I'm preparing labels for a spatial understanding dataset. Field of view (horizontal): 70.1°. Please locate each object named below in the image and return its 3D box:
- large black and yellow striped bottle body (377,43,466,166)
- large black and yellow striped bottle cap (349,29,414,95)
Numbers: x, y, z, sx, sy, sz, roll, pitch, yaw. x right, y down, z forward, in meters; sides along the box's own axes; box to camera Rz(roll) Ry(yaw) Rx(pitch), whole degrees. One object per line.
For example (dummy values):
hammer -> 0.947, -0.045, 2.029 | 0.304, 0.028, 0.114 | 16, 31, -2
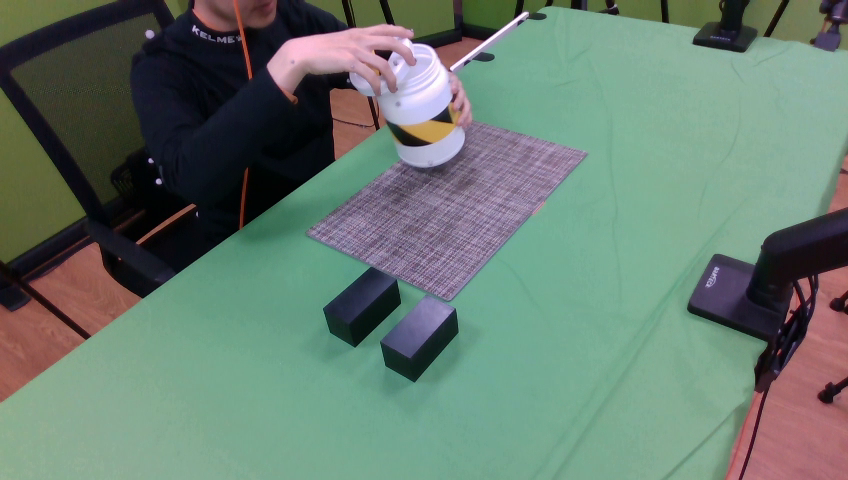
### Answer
large black and yellow striped bottle body -> -0.007, -0.237, 1.064 | 0.130, 0.185, 0.130 | -10, 48, 11
large black and yellow striped bottle cap -> -0.069, -0.283, 0.961 | 0.114, 0.019, 0.114 | -15, 59, 27
